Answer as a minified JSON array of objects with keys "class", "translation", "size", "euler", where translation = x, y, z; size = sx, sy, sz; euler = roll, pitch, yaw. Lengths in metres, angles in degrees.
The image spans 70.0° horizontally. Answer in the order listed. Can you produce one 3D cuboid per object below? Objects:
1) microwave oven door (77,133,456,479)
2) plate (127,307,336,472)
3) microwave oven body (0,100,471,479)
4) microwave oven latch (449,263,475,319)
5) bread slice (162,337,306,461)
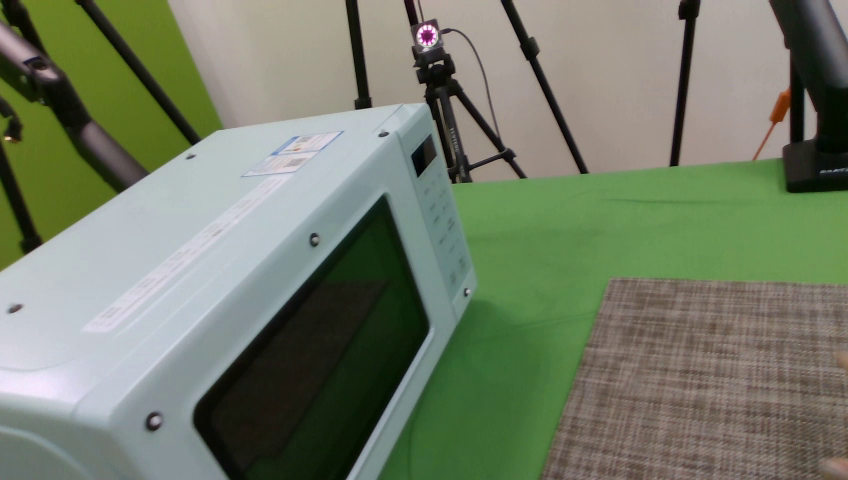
[{"class":"microwave oven door","translation":[-0.076,0.094,0.499],"size":[0.039,0.246,0.354],"euler":[-2,32,27]},{"class":"plate","translation":[-0.181,0.144,0.595],"size":[0.209,0.038,0.207],"euler":[-15,28,9]},{"class":"microwave oven body","translation":[-0.188,0.080,0.600],"size":[0.324,0.262,0.439],"euler":[-1,33,27]},{"class":"microwave oven latch","translation":[0.037,0.060,0.712],"size":[0.030,0.030,0.079],"euler":[-1,34,28]},{"class":"bread slice","translation":[-0.183,0.147,0.600],"size":[0.104,0.019,0.131],"euler":[6,41,35]}]
